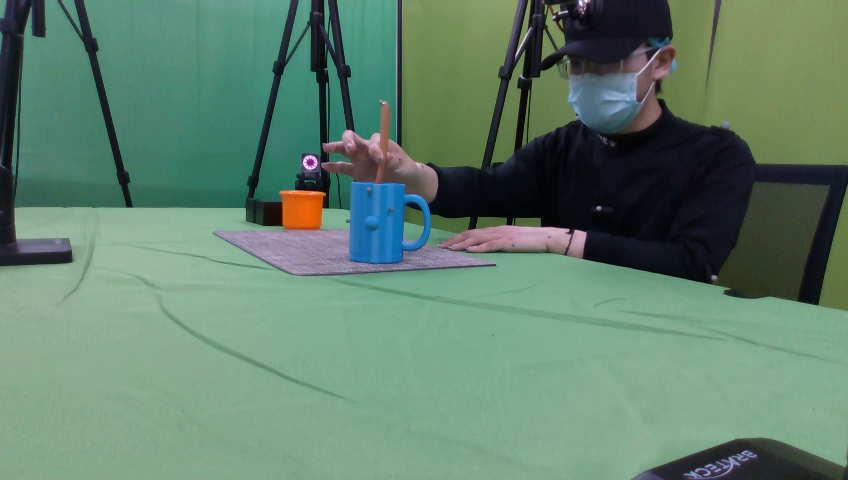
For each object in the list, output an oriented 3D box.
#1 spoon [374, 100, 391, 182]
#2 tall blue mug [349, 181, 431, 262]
[{"bbox_3d":[-0.063,-0.102,0.859,0.042,0.193,0.021,7,4,-32],"label":"spoon"},{"bbox_3d":[-0.051,-0.028,0.849,0.108,0.108,0.077,-1,7,-22],"label":"tall blue mug"}]
